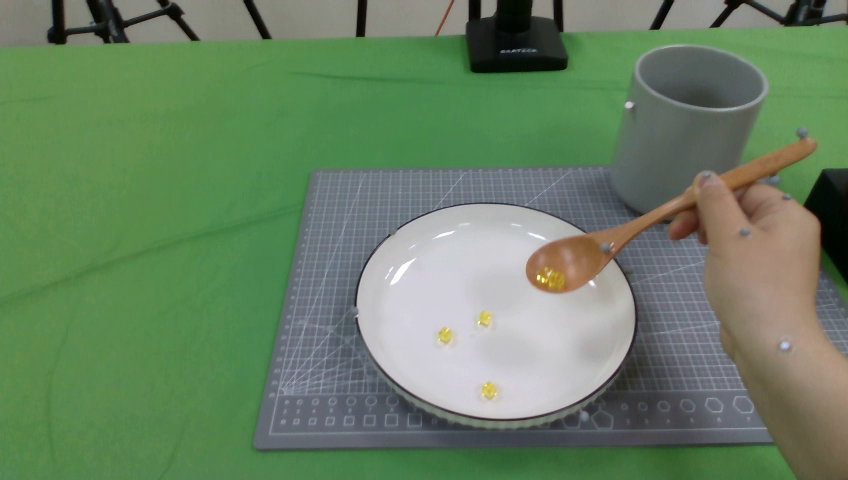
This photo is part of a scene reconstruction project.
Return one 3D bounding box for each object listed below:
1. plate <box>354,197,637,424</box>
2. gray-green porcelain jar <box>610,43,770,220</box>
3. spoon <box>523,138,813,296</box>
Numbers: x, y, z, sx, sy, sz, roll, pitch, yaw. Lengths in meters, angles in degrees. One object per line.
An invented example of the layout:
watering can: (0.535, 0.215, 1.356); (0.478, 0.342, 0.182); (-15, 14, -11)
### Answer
plate: (0.052, 0.049, 0.463); (0.208, 0.039, 0.205); (-1, 46, 1)
gray-green porcelain jar: (0.225, -0.090, 0.533); (0.106, 0.127, 0.105); (-1, 46, 1)
spoon: (0.153, -0.014, 0.395); (0.193, 0.022, 0.041); (-30, 54, 22)
